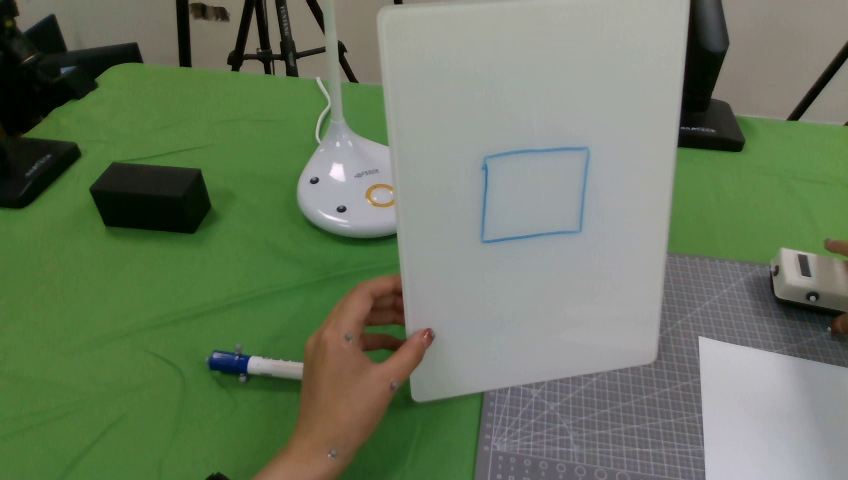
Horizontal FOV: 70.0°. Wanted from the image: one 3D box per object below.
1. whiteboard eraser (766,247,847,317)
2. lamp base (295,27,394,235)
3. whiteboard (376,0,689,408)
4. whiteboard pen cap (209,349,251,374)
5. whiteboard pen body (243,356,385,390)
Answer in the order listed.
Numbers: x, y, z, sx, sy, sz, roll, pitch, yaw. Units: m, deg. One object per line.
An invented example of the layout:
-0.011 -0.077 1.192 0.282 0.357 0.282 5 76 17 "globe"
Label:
0.388 0.044 0.574 0.112 0.042 0.055 11 42 12 "whiteboard eraser"
-0.074 -0.123 0.651 0.161 0.182 0.177 -28 46 -29 "lamp base"
0.074 -0.043 0.512 0.217 0.307 0.142 -7 23 -8 "whiteboard"
-0.161 0.102 0.508 0.033 0.018 0.018 8 41 -1 "whiteboard pen cap"
-0.103 0.110 0.506 0.141 0.017 0.017 6 41 1 "whiteboard pen body"
